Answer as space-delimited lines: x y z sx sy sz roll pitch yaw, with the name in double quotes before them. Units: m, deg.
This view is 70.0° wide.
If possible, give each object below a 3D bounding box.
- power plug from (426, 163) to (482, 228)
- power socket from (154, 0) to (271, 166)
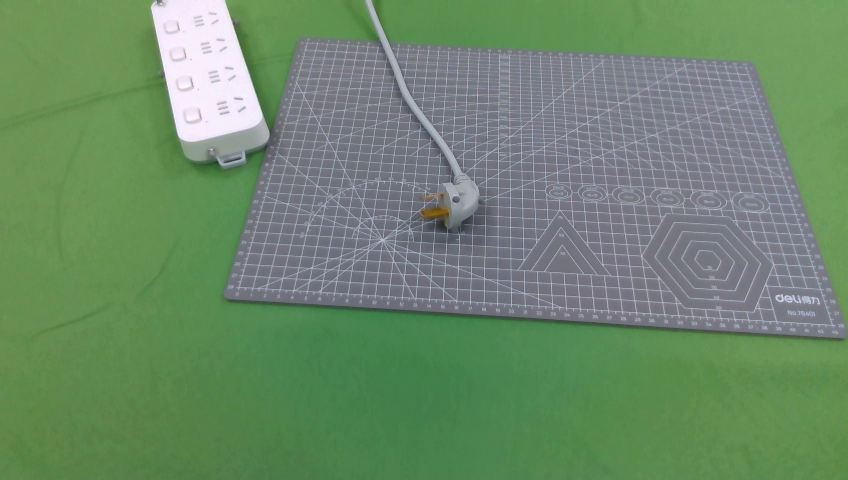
"power plug" 0.024 -0.035 0.447 0.035 0.073 0.052 -2 88 10
"power socket" -0.198 -0.160 0.558 0.072 0.033 0.224 -16 58 -13
